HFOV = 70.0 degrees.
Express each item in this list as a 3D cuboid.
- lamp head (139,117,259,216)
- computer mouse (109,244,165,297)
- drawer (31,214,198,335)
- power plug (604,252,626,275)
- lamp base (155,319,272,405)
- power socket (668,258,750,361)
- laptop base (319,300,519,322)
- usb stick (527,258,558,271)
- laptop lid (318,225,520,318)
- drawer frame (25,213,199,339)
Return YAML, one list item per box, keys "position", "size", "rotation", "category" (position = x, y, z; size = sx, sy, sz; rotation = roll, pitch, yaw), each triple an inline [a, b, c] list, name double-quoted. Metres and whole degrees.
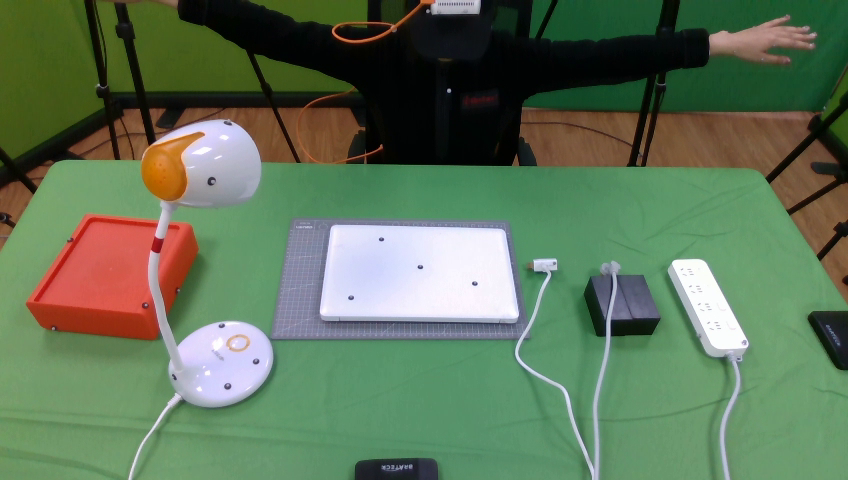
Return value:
- position: [-0.282, -0.086, 0.734]
  size: [0.112, 0.113, 0.123]
  rotation: [21, 25, 16]
  category: "lamp head"
- position: [-0.516, 0.051, 1.088]
  size: [0.063, 0.041, 0.116]
  rotation: [4, 48, 3]
  category: "computer mouse"
- position: [-0.533, 0.056, 1.064]
  size: [0.194, 0.073, 0.210]
  rotation: [6, 46, 1]
  category: "drawer"
- position: [0.366, 0.039, 1.130]
  size: [0.035, 0.072, 0.052]
  rotation: [39, 56, -10]
  category: "power plug"
- position: [-0.330, 0.149, 0.918]
  size: [0.160, 0.181, 0.179]
  rotation: [26, 52, 20]
  category: "lamp base"
- position: [0.517, 0.118, 1.109]
  size: [0.072, 0.033, 0.225]
  rotation: [-2, 46, -4]
  category: "power socket"
- position: [-0.009, 0.062, 1.137]
  size: [0.354, 0.023, 0.234]
  rotation: [1, 42, -3]
  category: "laptop base"
- position: [0.226, 0.046, 1.158]
  size: [0.059, 0.021, 0.027]
  rotation: [-2, 8, 10]
  category: "usb stick"
- position: [-0.009, 0.052, 1.131]
  size: [0.357, 0.013, 0.240]
  rotation: [2, 43, -2]
  category: "laptop lid"
- position: [-0.532, 0.058, 1.061]
  size: [0.202, 0.083, 0.212]
  rotation: [5, 46, 0]
  category: "drawer frame"
